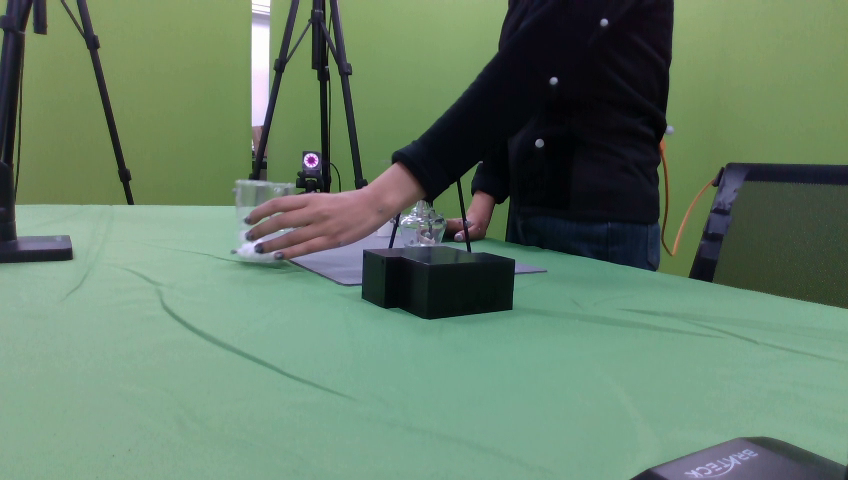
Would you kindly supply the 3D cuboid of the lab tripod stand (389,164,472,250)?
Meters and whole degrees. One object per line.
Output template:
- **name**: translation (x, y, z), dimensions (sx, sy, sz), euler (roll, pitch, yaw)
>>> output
- **lab tripod stand**: translation (0.010, -0.054, 0.961), dimensions (0.148, 0.131, 0.148), euler (2, 9, 0)

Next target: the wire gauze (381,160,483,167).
- **wire gauze**: translation (0.011, -0.120, 0.951), dimensions (0.122, 0.011, 0.124), euler (-4, 9, -32)

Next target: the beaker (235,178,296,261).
- **beaker**: translation (-0.202, -0.027, 0.775), dimensions (0.074, 0.100, 0.084), euler (5, 6, 10)

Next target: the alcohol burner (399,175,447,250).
- **alcohol burner**: translation (-0.001, -0.044, 0.961), dimensions (0.078, 0.119, 0.078), euler (0, 8, 0)

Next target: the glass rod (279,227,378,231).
- **glass rod**: translation (-0.175, -0.021, 1.161), dimensions (0.200, 0.008, 0.008), euler (1, 7, -15)

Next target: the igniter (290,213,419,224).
- **igniter**: translation (-0.144, -0.046, 1.288), dimensions (0.278, 0.025, 0.057), euler (-1, -3, -24)

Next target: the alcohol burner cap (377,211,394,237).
- **alcohol burner cap**: translation (-0.069, -0.030, 1.112), dimensions (0.034, 0.048, 0.034), euler (2, 9, 0)
